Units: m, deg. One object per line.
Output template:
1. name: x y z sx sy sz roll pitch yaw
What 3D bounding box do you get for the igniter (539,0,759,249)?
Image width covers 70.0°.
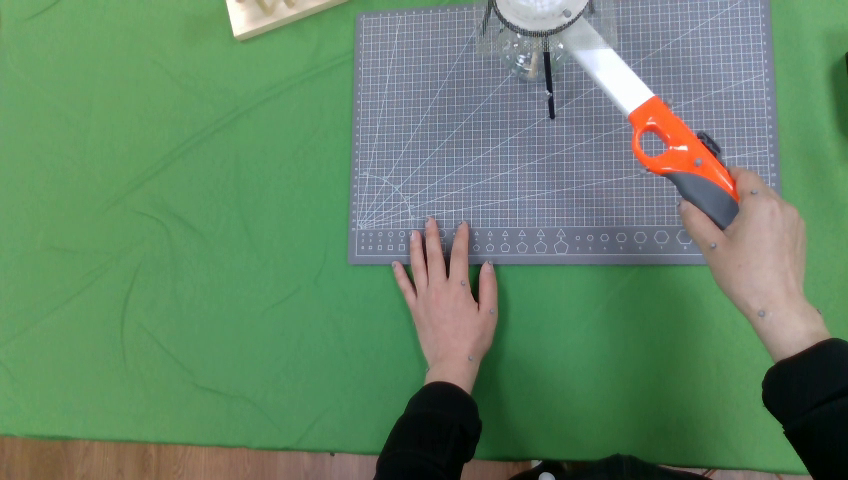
1. igniter: 0.195 -0.109 0.535 0.057 0.025 0.274 -37 72 8

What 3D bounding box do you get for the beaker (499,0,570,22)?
1. beaker: 0.088 -0.233 0.496 0.083 0.101 0.074 13 85 13

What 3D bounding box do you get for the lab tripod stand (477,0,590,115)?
1. lab tripod stand: 0.115 -0.215 0.606 0.148 0.132 0.148 -1 83 9

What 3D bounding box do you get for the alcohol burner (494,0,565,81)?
1. alcohol burner: 0.109 -0.210 0.616 0.078 0.119 0.077 -1 81 9

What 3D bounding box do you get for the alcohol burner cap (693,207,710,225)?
1. alcohol burner cap: 0.287 -0.035 0.595 0.034 0.048 0.033 -1 82 10

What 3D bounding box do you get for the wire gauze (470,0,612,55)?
1. wire gauze: 0.103 -0.225 0.542 0.125 0.011 0.121 -1 86 8

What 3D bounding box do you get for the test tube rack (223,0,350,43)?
1. test tube rack: -0.133 -0.315 0.694 0.242 0.085 0.066 -18 79 8
